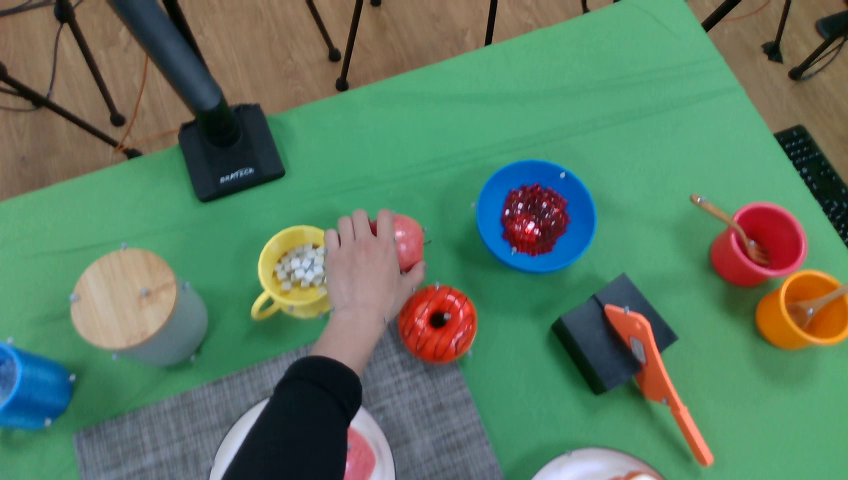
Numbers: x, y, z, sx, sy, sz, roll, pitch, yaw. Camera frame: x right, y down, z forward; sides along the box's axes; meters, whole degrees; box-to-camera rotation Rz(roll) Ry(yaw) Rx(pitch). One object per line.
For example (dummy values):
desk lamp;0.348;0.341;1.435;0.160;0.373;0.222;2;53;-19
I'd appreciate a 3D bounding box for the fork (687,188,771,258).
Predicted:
fork;0.381;-0.019;0.750;0.209;0.018;0.028;26;63;-37

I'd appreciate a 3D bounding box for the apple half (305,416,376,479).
apple half;-0.091;0.236;0.671;0.081;0.033;0.080;1;69;-3

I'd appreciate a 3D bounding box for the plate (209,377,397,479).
plate;-0.133;0.262;0.683;0.208;0.039;0.206;1;70;-2

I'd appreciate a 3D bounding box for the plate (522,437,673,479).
plate;0.194;0.329;0.675;0.209;0.038;0.207;1;70;-1

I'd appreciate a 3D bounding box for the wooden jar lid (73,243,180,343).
wooden jar lid;-0.312;0.057;0.641;0.108;0.021;0.107;0;68;-1

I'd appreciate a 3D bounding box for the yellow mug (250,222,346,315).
yellow mug;-0.161;0.045;0.749;0.099;0.064;0.130;43;75;14

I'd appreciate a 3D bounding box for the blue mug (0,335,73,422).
blue mug;-0.471;0.168;0.672;0.082;0.106;0.116;41;74;13

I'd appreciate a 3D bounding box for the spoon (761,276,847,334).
spoon;0.499;0.055;0.727;0.022;0.194;0.041;-4;59;-52

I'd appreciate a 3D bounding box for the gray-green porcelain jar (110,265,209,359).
gray-green porcelain jar;-0.314;0.079;0.699;0.106;0.127;0.105;1;69;-2

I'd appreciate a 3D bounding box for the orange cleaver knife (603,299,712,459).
orange cleaver knife;0.273;0.162;0.715;0.012;0.077;0.211;-30;95;-19

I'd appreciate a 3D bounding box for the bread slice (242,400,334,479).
bread slice;-0.126;0.264;0.683;0.107;0.018;0.133;-31;74;-11

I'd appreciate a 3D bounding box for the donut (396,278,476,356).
donut;0.015;0.094;0.746;0.099;0.048;0.098;1;71;-2

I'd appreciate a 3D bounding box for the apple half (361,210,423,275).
apple half;-0.037;-0.001;0.727;0.075;0.053;0.080;3;76;-11

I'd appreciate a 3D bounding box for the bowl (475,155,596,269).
bowl;0.136;-0.025;0.780;0.151;0.077;0.150;1;71;-2
